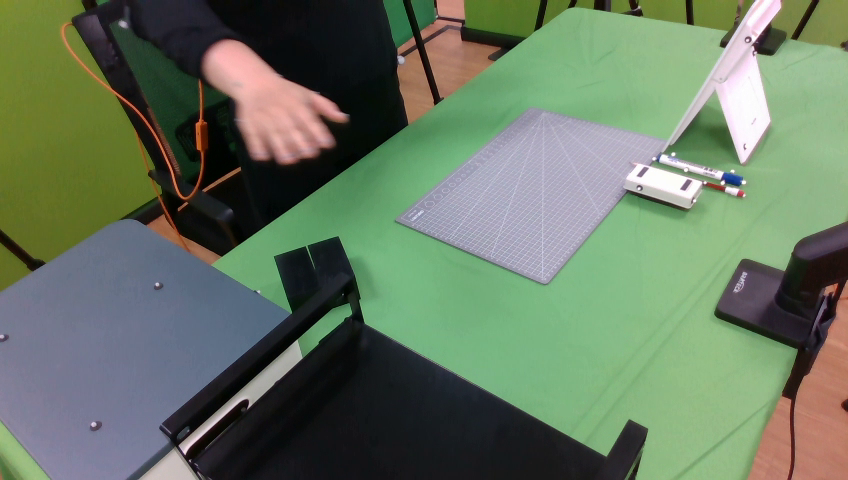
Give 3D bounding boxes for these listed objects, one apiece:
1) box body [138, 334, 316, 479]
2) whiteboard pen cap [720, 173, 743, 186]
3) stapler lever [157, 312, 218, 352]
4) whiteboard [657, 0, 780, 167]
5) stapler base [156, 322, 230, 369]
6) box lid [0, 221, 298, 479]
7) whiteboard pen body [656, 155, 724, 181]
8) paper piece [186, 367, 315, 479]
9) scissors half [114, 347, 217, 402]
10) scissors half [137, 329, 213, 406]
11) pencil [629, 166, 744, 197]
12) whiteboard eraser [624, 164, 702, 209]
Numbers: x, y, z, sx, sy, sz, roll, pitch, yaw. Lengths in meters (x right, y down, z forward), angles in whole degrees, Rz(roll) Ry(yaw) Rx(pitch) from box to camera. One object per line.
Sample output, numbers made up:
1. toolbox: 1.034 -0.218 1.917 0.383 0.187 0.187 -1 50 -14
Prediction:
1. box body: -0.340 0.162 0.728 0.361 0.161 0.255 23 48 31
2. whiteboard pen cap: 0.519 -0.103 1.020 0.033 0.018 0.018 23 49 30
3. stapler lever: -0.330 0.121 0.838 0.117 0.040 0.027 18 36 32
4. whiteboard: 0.571 -0.272 1.038 0.143 0.306 0.218 37 54 17
5. stapler base: -0.327 0.141 0.850 0.129 0.024 0.041 16 35 34
6. box lid: -0.346 0.106 0.679 0.368 0.015 0.264 23 49 31
7. whiteboard pen body: 0.475 -0.123 1.052 0.139 0.017 0.017 24 49 32
8. paper piece: -0.222 0.234 0.757 0.136 0.009 0.137 -38 35 -23
9. scissors half: -0.349 0.185 0.812 0.174 0.013 0.040 16 52 18
10. scissors half: -0.336 0.173 0.824 0.040 0.013 0.174 -35 54 -30
11. pencil: 0.447 -0.103 1.038 0.192 0.012 0.012 21 48 29
12. whiteboard eraser: 0.396 -0.087 1.003 0.112 0.042 0.056 22 47 31
